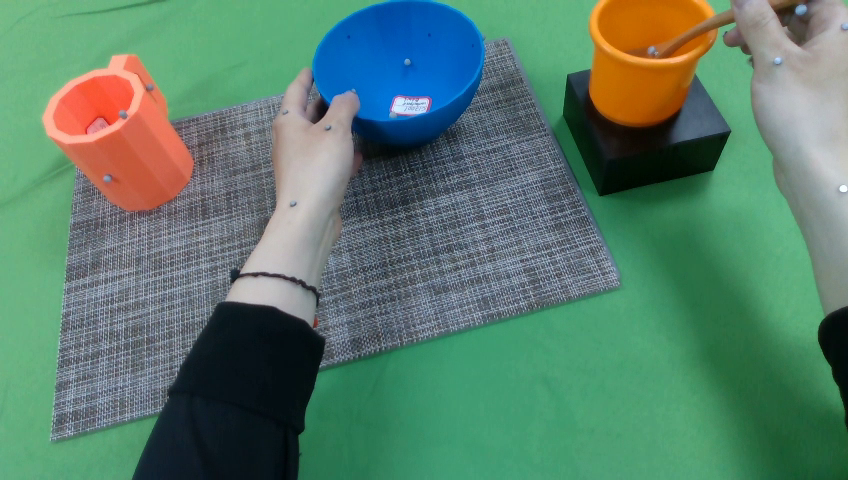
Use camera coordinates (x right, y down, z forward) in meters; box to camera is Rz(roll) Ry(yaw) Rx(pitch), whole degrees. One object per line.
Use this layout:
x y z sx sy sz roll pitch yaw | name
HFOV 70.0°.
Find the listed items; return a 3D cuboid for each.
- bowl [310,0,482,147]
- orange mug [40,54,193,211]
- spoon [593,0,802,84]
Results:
-0.020 -0.139 0.551 0.151 0.077 0.150 -3 58 5 | bowl
-0.270 -0.104 0.549 0.083 0.101 0.125 -4 63 5 | orange mug
0.197 -0.149 0.432 0.022 0.193 0.041 35 71 -21 | spoon
